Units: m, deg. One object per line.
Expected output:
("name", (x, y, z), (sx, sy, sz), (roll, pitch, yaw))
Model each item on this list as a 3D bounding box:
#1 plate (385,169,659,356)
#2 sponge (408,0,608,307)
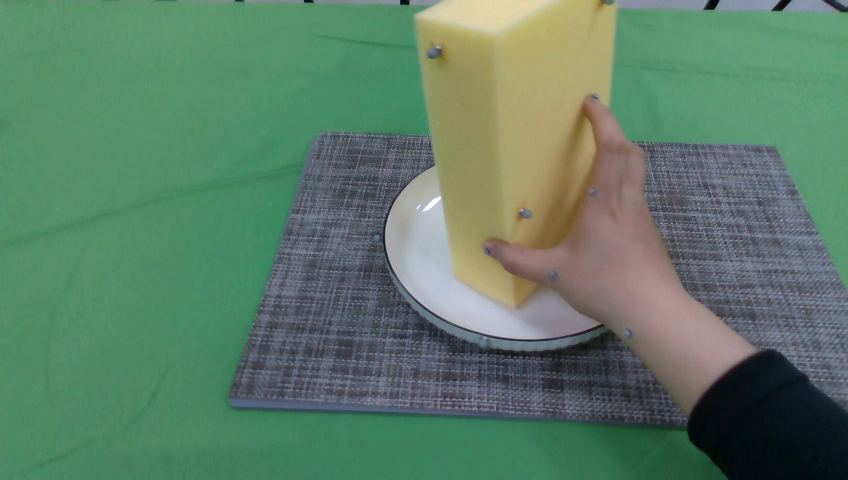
("plate", (0.074, 0.007, 0.478), (0.207, 0.039, 0.205), (-1, 46, 2))
("sponge", (0.067, -0.068, 0.418), (0.060, 0.209, 0.118), (27, 54, 36))
